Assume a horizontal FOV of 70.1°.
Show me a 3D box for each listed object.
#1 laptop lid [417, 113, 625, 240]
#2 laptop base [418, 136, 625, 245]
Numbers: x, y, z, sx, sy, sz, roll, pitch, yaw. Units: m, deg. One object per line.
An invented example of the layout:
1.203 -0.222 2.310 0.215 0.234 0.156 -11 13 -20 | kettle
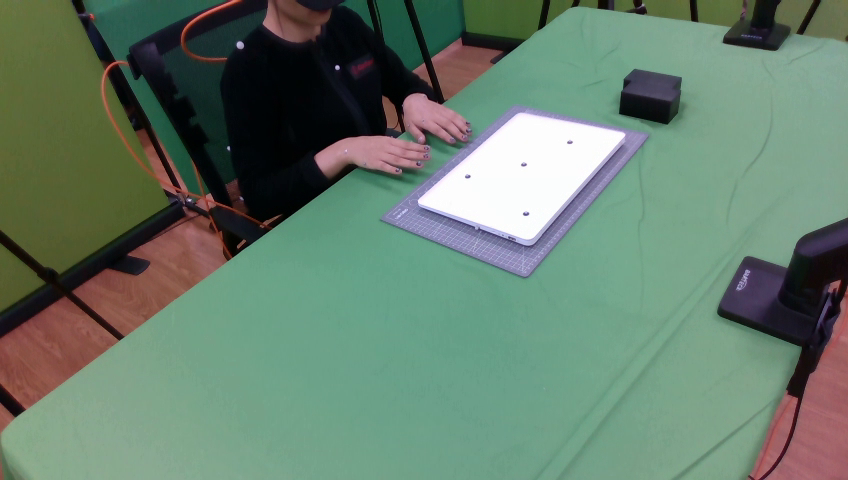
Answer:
0.180 -0.132 1.088 0.239 0.013 0.358 22 49 34 | laptop lid
0.183 -0.123 1.094 0.233 0.023 0.355 19 48 34 | laptop base
